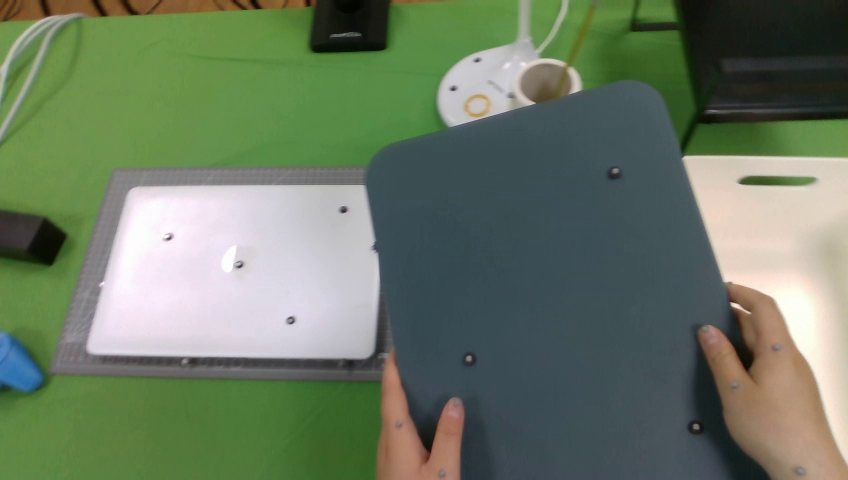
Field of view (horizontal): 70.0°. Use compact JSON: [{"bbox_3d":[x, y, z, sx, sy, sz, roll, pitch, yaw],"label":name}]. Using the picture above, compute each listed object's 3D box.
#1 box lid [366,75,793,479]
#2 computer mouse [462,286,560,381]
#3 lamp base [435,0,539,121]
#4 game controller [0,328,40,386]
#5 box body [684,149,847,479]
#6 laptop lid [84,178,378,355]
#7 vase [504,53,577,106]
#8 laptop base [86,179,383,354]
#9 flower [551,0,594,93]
[{"bbox_3d":[0.105,0.056,0.482,0.263,0.015,0.369,-14,75,7],"label":"box lid"},{"bbox_3d":[0.100,0.103,0.693,0.117,0.041,0.062,-41,64,-19],"label":"computer mouse"},{"bbox_3d":[0.096,-0.256,0.790,0.159,0.182,0.179,32,68,19],"label":"lamp base"},{"bbox_3d":[-0.550,0.167,0.716,0.155,0.052,0.096,-34,63,-12],"label":"game controller"},{"bbox_3d":[0.357,0.106,0.599,0.254,0.162,0.361,2,64,7],"label":"box body"},{"bbox_3d":[-0.234,0.026,0.758,0.356,0.013,0.240,1,66,6],"label":"laptop lid"},{"bbox_3d":[0.132,-0.124,0.712,0.098,0.202,0.097,-3,62,6],"label":"vase"},{"bbox_3d":[-0.233,0.029,0.769,0.354,0.023,0.234,0,68,5],"label":"laptop base"},{"bbox_3d":[0.141,-0.169,0.640,0.038,0.364,0.043,-5,53,-16],"label":"flower"}]
